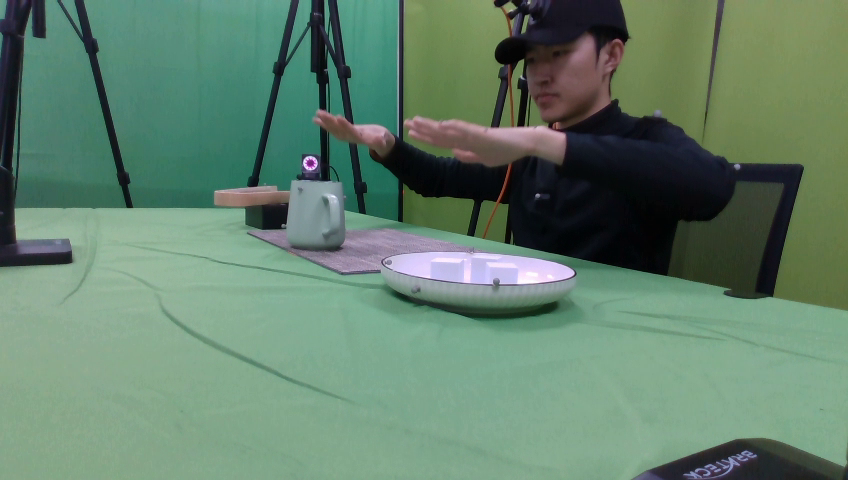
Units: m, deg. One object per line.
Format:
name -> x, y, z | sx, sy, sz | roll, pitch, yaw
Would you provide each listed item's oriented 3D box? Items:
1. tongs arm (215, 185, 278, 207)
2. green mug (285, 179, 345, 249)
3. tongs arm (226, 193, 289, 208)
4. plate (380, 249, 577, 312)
tongs arm -> -0.363, -0.098, 1.297 | 0.051, 0.026, 0.385 | 7, 8, 6
green mug -> -0.161, -0.040, 0.936 | 0.093, 0.105, 0.124 | -2, 8, -32
tongs arm -> -0.286, -0.090, 1.284 | 0.028, 0.028, 0.389 | 12, 10, 18
plate -> 0.056, 0.042, 0.646 | 0.209, 0.038, 0.209 | 2, 7, 0
